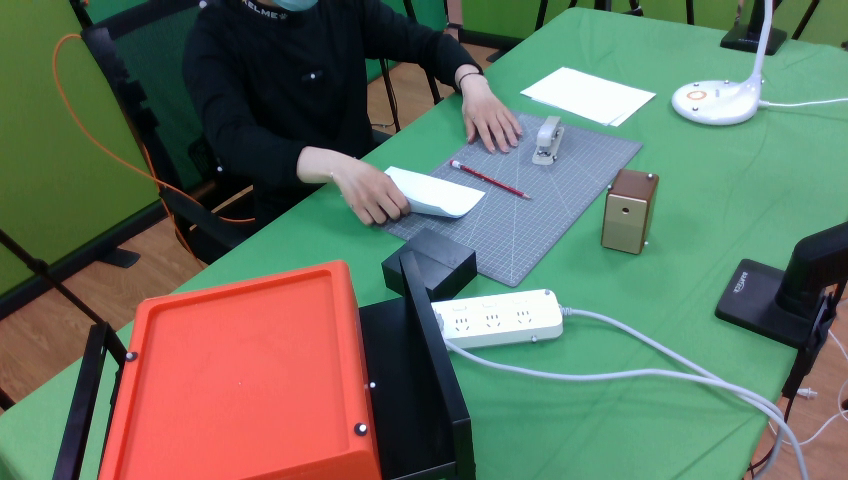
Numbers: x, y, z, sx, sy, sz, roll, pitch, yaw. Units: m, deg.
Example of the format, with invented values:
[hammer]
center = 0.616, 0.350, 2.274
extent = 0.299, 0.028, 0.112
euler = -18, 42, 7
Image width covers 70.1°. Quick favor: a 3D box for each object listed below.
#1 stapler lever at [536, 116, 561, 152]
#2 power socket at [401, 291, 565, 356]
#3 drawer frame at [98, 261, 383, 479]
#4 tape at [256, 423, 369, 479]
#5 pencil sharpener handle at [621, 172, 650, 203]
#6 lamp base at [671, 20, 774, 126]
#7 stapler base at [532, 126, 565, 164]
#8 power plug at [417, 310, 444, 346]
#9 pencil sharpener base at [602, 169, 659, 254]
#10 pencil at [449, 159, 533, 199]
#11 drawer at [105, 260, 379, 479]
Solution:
[stapler lever]
center = 0.236, -0.209, 1.140
extent = 0.026, 0.040, 0.118
euler = 10, 43, 18
[power socket]
center = 0.080, 0.112, 0.822
extent = 0.227, 0.033, 0.072
euler = -6, 41, 0
[drawer frame]
center = -0.149, 0.129, 0.520
extent = 0.202, 0.083, 0.212
euler = -12, 41, -6
[tape]
center = -0.121, 0.263, 0.660
extent = 0.117, 0.053, 0.116
euler = -4, 40, 4
[pencil sharpener handle]
center = 0.328, -0.087, 0.940
extent = 0.036, 0.068, 0.030
euler = 30, 49, 7
[lamp base]
center = 0.581, -0.332, 1.154
extent = 0.179, 0.181, 0.160
euler = 2, 41, 7
[stapler base]
center = 0.238, -0.189, 1.155
extent = 0.041, 0.024, 0.130
euler = 10, 42, 17
[power plug]
center = 0.006, 0.122, 0.785
extent = 0.035, 0.053, 0.072
euler = -1, 40, 8
[pencil sharpener base]
center = 0.312, -0.044, 0.913
extent = 0.061, 0.107, 0.077
euler = 14, 45, 24
[pencil]
center = 0.118, -0.110, 1.091
extent = 0.192, 0.012, 0.012
euler = 30, 53, 34
[drawer]
center = -0.150, 0.127, 0.525
extent = 0.195, 0.073, 0.210
euler = -11, 41, -5
